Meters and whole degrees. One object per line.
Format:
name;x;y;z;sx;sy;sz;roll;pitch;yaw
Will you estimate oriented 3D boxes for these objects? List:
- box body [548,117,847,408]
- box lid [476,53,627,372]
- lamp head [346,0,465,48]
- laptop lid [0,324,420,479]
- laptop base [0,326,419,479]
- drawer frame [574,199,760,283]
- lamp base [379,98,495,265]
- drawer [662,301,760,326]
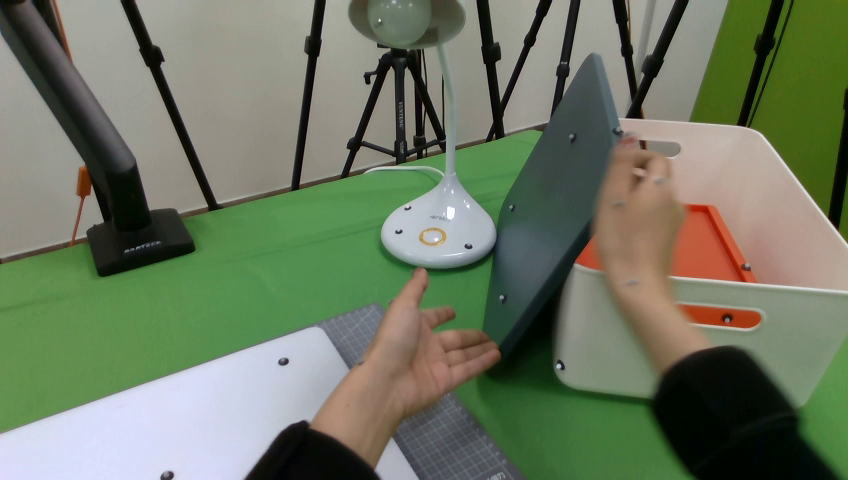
box body;0.271;0.003;0.687;0.254;0.161;0.361;4;33;7
box lid;0.136;-0.048;0.687;0.015;0.264;0.369;24;34;-4
lamp head;-0.015;-0.261;0.580;0.112;0.113;0.122;2;73;3
laptop lid;-0.207;0.191;0.493;0.358;0.013;0.239;-16;39;-24
laptop base;-0.208;0.200;0.501;0.355;0.023;0.233;-17;40;-26
drawer frame;0.253;0.035;0.697;0.201;0.083;0.212;3;31;5
lamp base;0.019;-0.085;0.802;0.160;0.181;0.178;5;31;7
drawer;0.250;0.040;0.696;0.194;0.074;0.210;3;31;4
